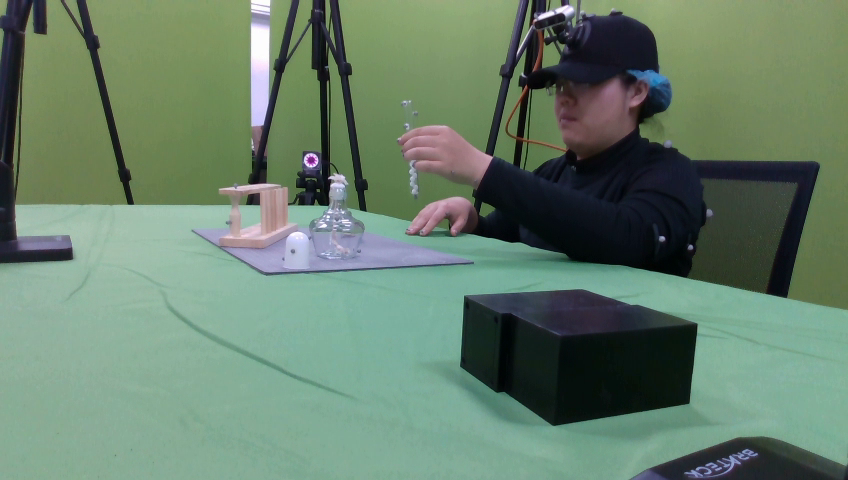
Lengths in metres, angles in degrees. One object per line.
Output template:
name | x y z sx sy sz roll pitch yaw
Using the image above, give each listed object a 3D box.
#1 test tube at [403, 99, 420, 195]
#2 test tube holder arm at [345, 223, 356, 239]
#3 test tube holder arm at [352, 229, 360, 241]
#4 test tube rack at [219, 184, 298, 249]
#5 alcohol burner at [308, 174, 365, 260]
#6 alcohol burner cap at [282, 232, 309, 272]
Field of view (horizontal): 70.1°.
test tube | -0.020 -0.146 0.955 0.017 0.150 0.017 -4 15 1
test tube holder arm | -0.132 -0.018 1.083 0.013 0.015 0.178 36 0 -12
test tube holder arm | -0.120 -0.009 1.040 0.010 0.015 0.087 36 0 -12
test tube rack | -0.266 -0.046 1.002 0.067 0.085 0.242 3 7 0
alcohol burner | -0.121 -0.033 0.841 0.078 0.119 0.078 3 5 0
alcohol burner cap | -0.157 0.014 0.740 0.034 0.048 0.034 2 6 0
